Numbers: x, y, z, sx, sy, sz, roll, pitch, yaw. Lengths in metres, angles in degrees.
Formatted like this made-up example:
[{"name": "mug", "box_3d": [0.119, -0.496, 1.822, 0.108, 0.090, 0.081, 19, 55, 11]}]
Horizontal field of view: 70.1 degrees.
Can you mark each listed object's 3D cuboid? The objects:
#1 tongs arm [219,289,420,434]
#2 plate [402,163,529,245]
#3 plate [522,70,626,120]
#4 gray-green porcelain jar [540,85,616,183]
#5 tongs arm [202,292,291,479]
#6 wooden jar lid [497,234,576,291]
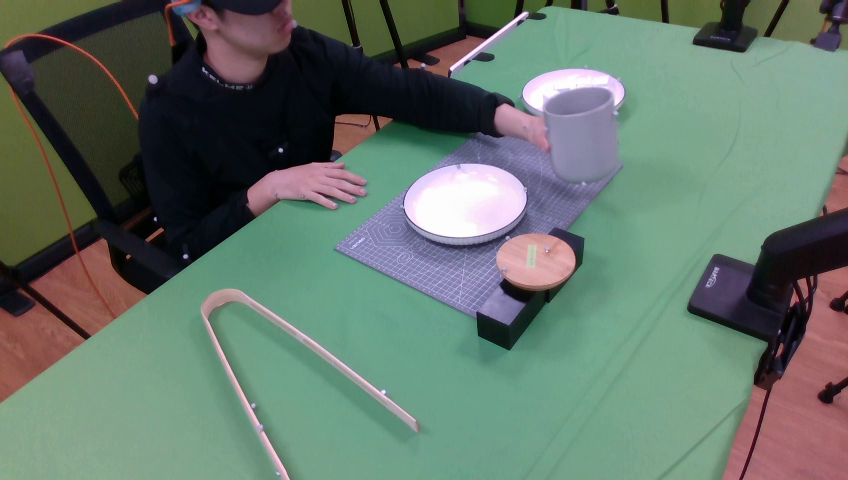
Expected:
[{"name": "tongs arm", "box_3d": [-0.152, 0.151, 0.812, 0.384, 0.028, 0.028, 26, 52, 33]}, {"name": "plate", "box_3d": [0.069, -0.056, 1.008, 0.209, 0.038, 0.208, -4, 40, 4]}, {"name": "plate", "box_3d": [0.308, -0.289, 1.251, 0.207, 0.039, 0.206, -4, 40, 4]}, {"name": "gray-green porcelain jar", "box_3d": [0.244, -0.162, 0.947, 0.106, 0.127, 0.105, -12, 32, 8]}, {"name": "tongs arm", "box_3d": [-0.216, 0.187, 0.772, 0.051, 0.026, 0.381, -27, 43, -24]}, {"name": "wooden jar lid", "box_3d": [0.155, 0.032, 0.834, 0.108, 0.021, 0.108, -5, 40, 5]}]
